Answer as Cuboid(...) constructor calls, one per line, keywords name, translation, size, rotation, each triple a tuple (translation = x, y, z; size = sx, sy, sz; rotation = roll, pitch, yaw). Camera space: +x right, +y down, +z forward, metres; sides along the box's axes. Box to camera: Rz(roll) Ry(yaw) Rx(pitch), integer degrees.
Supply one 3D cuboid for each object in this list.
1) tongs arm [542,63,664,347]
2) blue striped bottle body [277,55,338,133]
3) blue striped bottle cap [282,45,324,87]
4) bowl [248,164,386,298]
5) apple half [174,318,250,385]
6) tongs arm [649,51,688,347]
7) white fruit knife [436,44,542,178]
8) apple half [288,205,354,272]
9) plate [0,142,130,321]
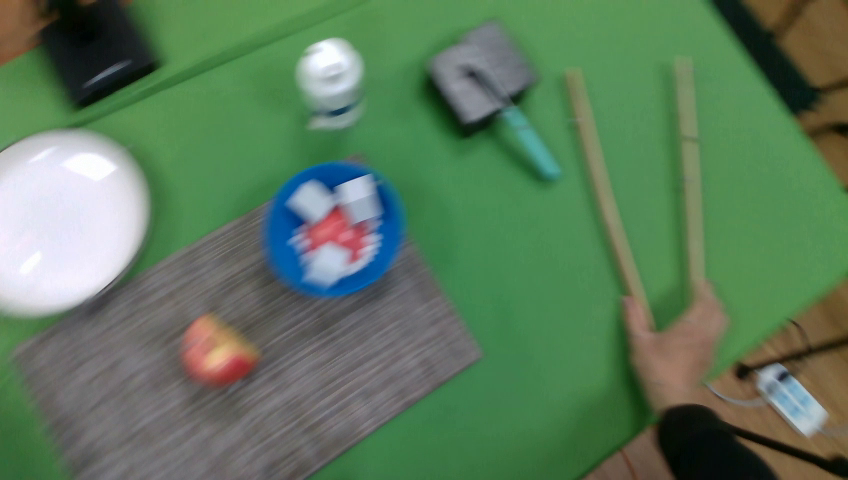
Cuboid(name="tongs arm", translation=(0.218, -0.048, 0.766), size=(0.028, 0.028, 0.386), rotation=(-16, 80, -11))
Cuboid(name="blue striped bottle body", translation=(-0.136, -0.178, 0.713), size=(0.063, 0.121, 0.063), rotation=(1, 77, -4))
Cuboid(name="blue striped bottle cap", translation=(-0.132, -0.190, 0.664), size=(0.044, 0.020, 0.044), rotation=(1, 83, -5))
Cuboid(name="bowl", translation=(-0.118, -0.003, 0.697), size=(0.151, 0.077, 0.150), rotation=(1, 78, -5))
Cuboid(name="apple half", translation=(-0.238, 0.129, 0.662), size=(0.081, 0.075, 0.053), rotation=(37, 81, -1))
Cuboid(name="tongs arm", translation=(0.298, -0.059, 0.773), size=(0.051, 0.026, 0.383), rotation=(-3, 80, -6))
Cuboid(name="white fruit knife", translation=(0.080, -0.157, 0.747), size=(0.016, 0.027, 0.208), rotation=(-40, 101, 6))
Cuboid(name="apple half", translation=(-0.117, -0.004, 0.693), size=(0.081, 0.033, 0.081), rotation=(1, 78, -4))
Cuboid(name="plate", translation=(-0.442, -0.009, 0.694), size=(0.208, 0.039, 0.206), rotation=(1, 78, -5))
